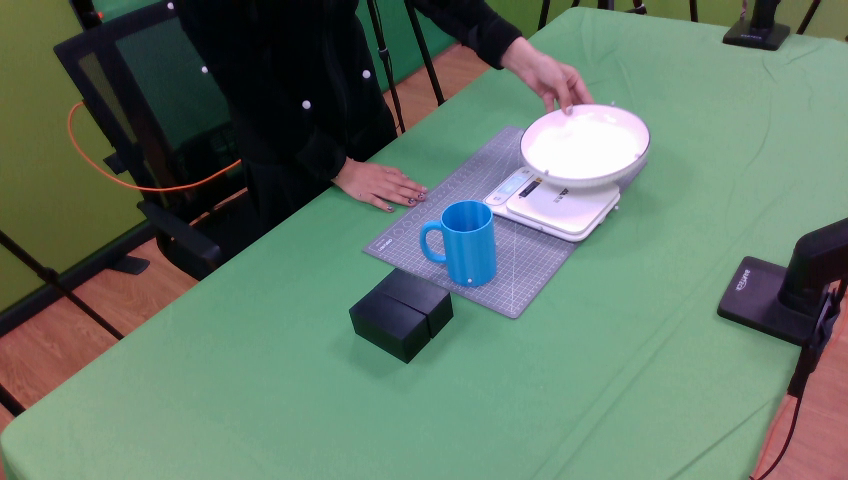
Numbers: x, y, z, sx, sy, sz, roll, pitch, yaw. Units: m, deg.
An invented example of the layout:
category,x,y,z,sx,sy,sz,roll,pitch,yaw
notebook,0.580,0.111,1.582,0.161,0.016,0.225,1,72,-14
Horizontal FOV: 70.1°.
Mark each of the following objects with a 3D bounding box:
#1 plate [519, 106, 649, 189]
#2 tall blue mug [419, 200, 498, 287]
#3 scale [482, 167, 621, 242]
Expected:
category,x,y,z,sx,sy,sz,roll,pitch,yaw
plate,0.264,-0.150,1.005,0.209,0.038,0.208,-7,44,8
tall blue mug,0.053,0.010,0.889,0.107,0.108,0.077,-15,41,-7
scale,0.211,-0.070,1.014,0.199,0.032,0.149,23,49,33
